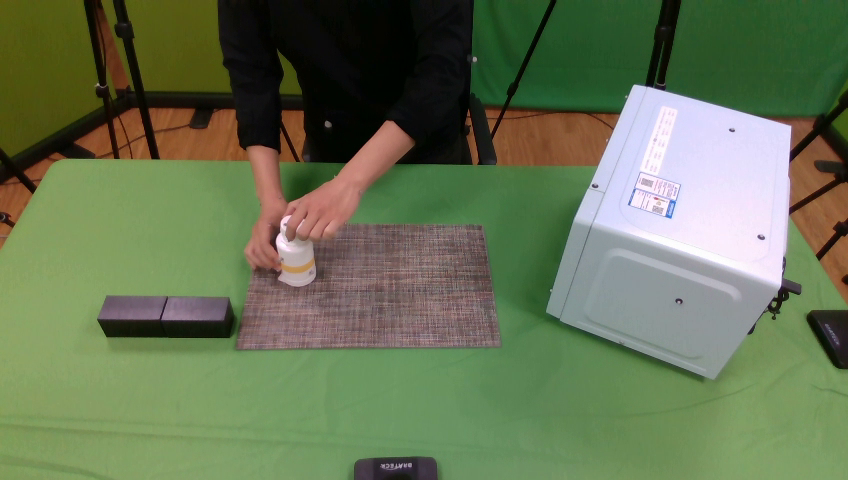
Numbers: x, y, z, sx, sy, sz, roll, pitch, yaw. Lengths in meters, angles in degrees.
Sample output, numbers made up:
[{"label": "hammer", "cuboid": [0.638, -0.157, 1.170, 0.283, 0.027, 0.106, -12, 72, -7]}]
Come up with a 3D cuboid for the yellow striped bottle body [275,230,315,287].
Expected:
[{"label": "yellow striped bottle body", "cuboid": [-0.230, 0.023, 1.082, 0.063, 0.121, 0.062, 2, 46, -2]}]

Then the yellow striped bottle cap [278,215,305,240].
[{"label": "yellow striped bottle cap", "cuboid": [-0.225, -0.022, 1.033, 0.044, 0.019, 0.044, 10, 48, -11]}]

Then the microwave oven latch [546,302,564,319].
[{"label": "microwave oven latch", "cuboid": [0.242, 0.102, 1.081, 0.030, 0.029, 0.079, 22, 48, 17]}]

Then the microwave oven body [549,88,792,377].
[{"label": "microwave oven body", "cuboid": [0.456, -0.028, 1.088, 0.325, 0.261, 0.440, 20, 47, 16]}]

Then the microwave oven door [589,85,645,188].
[{"label": "microwave oven door", "cuboid": [0.341, -0.107, 1.148, 0.039, 0.245, 0.354, 20, 48, 15]}]
